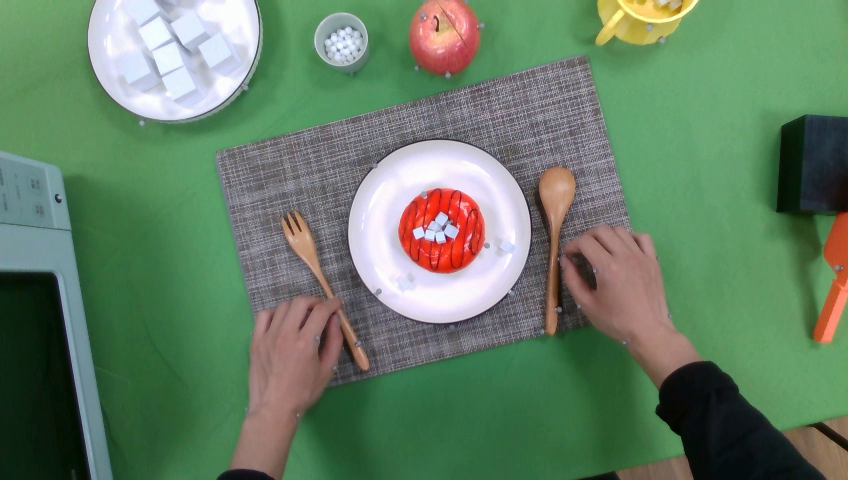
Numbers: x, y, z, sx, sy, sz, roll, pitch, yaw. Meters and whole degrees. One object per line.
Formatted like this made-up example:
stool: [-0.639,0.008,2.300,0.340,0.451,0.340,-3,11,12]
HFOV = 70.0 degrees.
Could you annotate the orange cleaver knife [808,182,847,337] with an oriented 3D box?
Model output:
orange cleaver knife: [0.441,0.005,0.637,0.012,0.076,0.213,5,120,6]

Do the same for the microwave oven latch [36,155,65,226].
microwave oven latch: [-0.439,-0.056,0.699,0.030,0.029,0.079,-9,88,3]

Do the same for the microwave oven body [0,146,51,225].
microwave oven body: [-0.557,0.142,0.604,0.326,0.260,0.441,-11,88,3]

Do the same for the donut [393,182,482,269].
donut: [0.016,-0.016,0.674,0.099,0.048,0.099,0,90,5]

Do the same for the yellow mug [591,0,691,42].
yellow mug: [0.233,-0.270,0.669,0.100,0.064,0.131,44,92,4]

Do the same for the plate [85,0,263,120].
plate: [-0.289,-0.242,0.714,0.207,0.039,0.207,0,88,4]

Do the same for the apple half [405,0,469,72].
apple half: [0.008,-0.223,0.678,0.053,0.074,0.081,-35,90,6]

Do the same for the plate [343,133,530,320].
plate: [0.014,-0.015,0.685,0.209,0.038,0.209,0,89,4]

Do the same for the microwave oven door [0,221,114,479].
microwave oven door: [-0.406,0.156,0.589,0.039,0.244,0.355,-12,87,3]

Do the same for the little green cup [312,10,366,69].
little green cup: [-0.096,-0.229,0.702,0.061,0.038,0.061,0,88,4]

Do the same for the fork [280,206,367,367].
fork: [-0.115,0.053,0.701,0.028,0.018,0.207,-27,87,-6]

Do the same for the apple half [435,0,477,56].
apple half: [0.040,-0.245,0.676,0.033,0.081,0.081,-35,86,6]

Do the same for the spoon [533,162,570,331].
spoon: [0.144,0.006,0.689,0.041,0.021,0.193,1,88,4]
